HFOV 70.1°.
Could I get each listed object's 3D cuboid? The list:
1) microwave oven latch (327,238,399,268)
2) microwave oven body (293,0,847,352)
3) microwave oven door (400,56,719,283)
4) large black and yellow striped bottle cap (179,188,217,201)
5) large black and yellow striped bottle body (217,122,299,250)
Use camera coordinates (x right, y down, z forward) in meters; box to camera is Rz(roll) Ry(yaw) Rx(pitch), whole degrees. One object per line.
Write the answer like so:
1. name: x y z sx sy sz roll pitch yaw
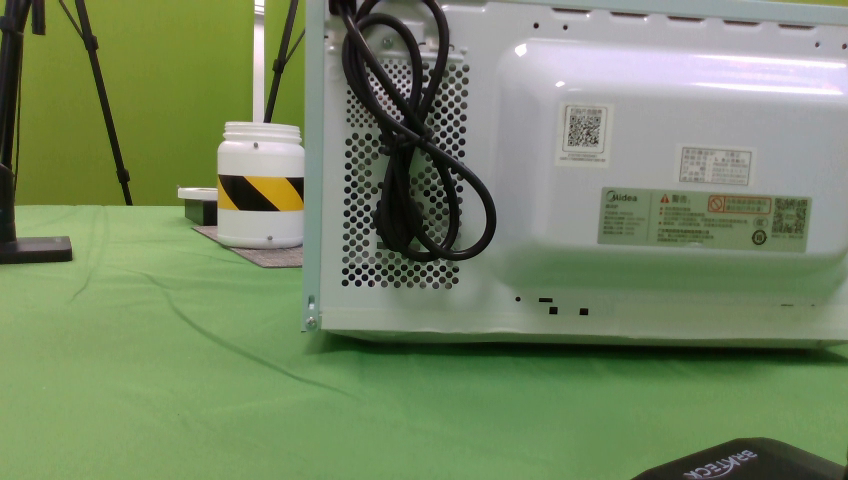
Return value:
1. microwave oven latch: -0.069 0.015 0.694 0.079 0.029 0.030 3 7 -3
2. microwave oven body: 0.122 -0.055 0.550 0.442 0.260 0.325 3 7 -5
3. microwave oven door: 0.155 -0.077 0.698 0.356 0.243 0.039 2 8 -5
4. large black and yellow striped bottle cap: -0.434 -0.093 1.226 0.115 0.019 0.115 3 9 0
5. large black and yellow striped bottle body: -0.250 -0.084 0.931 0.131 0.184 0.130 2 7 0
